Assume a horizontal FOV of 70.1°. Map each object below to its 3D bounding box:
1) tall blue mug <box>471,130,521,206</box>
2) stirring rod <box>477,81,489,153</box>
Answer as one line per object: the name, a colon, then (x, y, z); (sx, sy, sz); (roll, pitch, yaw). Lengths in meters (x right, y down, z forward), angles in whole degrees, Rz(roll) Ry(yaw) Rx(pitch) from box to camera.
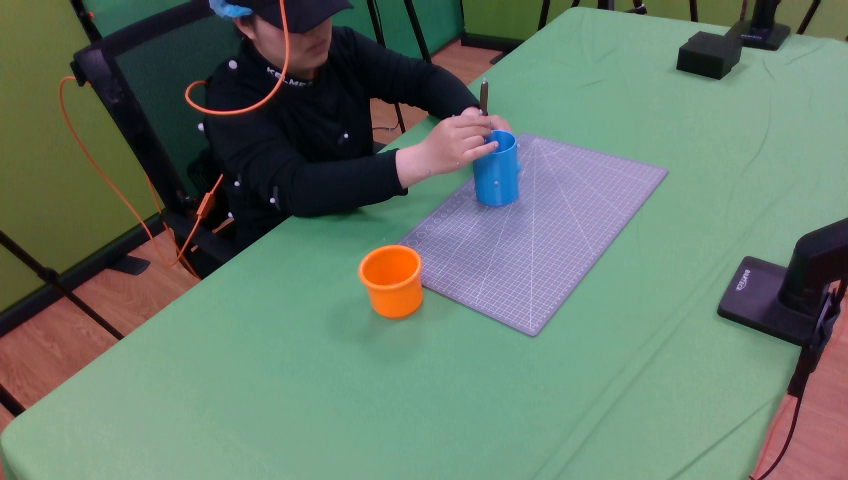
tall blue mug: (0.118, -0.132, 1.046); (0.078, 0.108, 0.106); (-19, 41, -10)
stirring rod: (0.094, -0.177, 0.981); (0.014, 0.177, 0.005); (-33, 53, -28)
